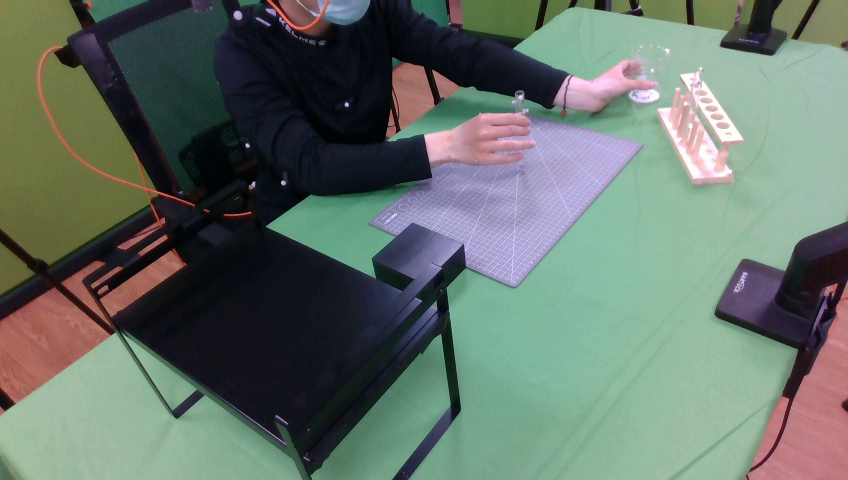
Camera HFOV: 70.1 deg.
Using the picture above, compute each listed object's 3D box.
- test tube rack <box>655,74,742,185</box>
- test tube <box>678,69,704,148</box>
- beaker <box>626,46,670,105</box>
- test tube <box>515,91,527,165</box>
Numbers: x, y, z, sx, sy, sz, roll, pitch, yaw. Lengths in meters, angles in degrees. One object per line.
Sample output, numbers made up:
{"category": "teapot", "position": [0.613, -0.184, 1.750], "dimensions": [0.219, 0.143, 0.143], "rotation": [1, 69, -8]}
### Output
{"category": "test tube rack", "position": [0.488, -0.205, 1.093], "dimensions": [0.067, 0.085, 0.241], "rotation": [-3, 41, 5]}
{"category": "test tube", "position": [0.465, -0.228, 1.055], "dimensions": [0.017, 0.151, 0.017], "rotation": [-4, 41, 4]}
{"category": "beaker", "position": [0.457, -0.336, 1.240], "dimensions": [0.084, 0.101, 0.073], "rotation": [-12, 42, -6]}
{"category": "test tube", "position": [0.169, -0.191, 1.050], "dimensions": [0.017, 0.151, 0.017], "rotation": [-6, 44, 7]}
